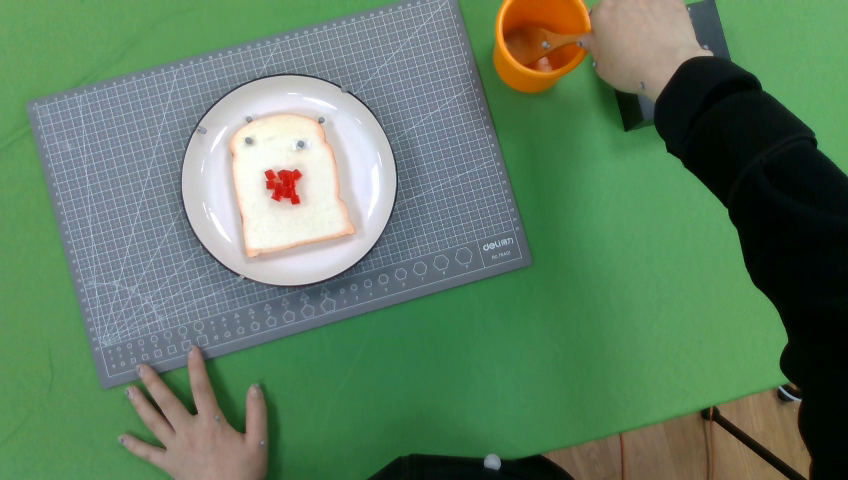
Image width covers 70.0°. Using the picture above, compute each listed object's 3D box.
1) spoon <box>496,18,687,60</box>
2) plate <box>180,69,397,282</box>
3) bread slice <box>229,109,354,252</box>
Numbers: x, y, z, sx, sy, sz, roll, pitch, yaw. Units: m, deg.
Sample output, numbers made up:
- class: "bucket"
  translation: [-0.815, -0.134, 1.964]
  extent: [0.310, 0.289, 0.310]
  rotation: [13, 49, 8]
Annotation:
- class: "spoon"
  translation: [0.147, -0.191, 0.562]
  extent: [0.022, 0.192, 0.041]
  rotation: [9, 94, -44]
- class: "plate"
  translation: [-0.130, -0.062, 0.600]
  extent: [0.209, 0.038, 0.209]
  rotation: [0, 88, -2]
- class: "bread slice"
  translation: [-0.138, -0.062, 0.600]
  extent: [0.107, 0.018, 0.134]
  rotation: [-16, 88, -4]
